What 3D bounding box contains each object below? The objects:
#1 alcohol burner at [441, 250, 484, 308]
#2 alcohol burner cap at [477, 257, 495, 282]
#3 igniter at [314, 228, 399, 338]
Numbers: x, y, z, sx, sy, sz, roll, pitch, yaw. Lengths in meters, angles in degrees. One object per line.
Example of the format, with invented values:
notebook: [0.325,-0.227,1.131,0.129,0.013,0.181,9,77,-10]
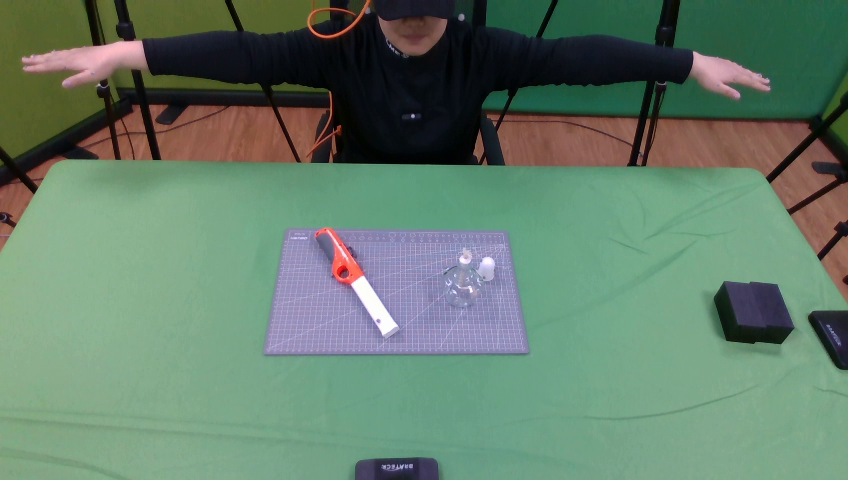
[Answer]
alcohol burner: [0.069,0.064,1.075,0.078,0.120,0.077,1,45,-1]
alcohol burner cap: [0.118,0.053,1.139,0.034,0.048,0.033,2,45,-2]
igniter: [-0.128,0.069,1.111,0.057,0.025,0.275,-36,57,-5]
